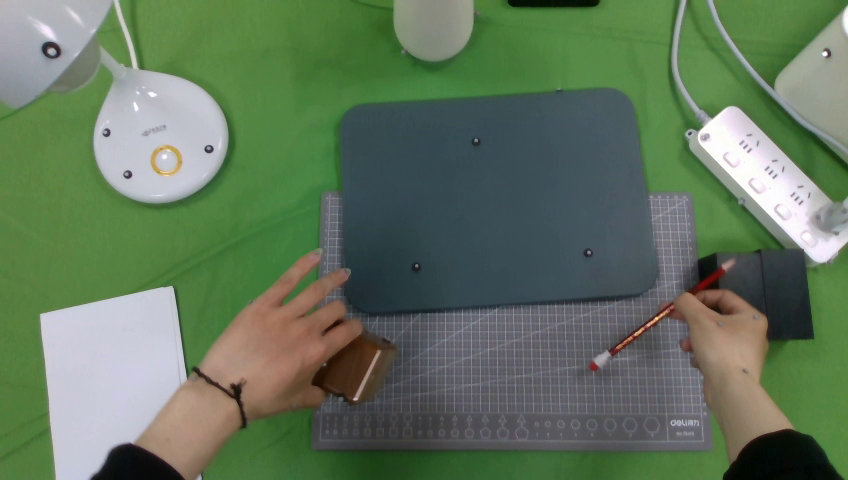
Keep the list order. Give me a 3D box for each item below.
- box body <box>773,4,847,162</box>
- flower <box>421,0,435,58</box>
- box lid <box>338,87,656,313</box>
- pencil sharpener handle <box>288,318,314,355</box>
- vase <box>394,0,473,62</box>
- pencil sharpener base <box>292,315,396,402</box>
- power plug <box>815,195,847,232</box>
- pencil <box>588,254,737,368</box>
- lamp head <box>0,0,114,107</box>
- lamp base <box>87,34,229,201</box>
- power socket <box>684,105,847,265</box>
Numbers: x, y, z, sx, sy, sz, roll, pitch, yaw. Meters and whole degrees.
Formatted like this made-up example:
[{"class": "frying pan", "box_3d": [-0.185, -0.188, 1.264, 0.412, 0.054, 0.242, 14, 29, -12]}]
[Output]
[{"class": "box body", "box_3d": [0.628, -0.162, 0.680, 0.254, 0.161, 0.363, -43, 82, -8]}, {"class": "flower", "box_3d": [0.022, -0.318, 0.605, 0.044, 0.364, 0.038, -26, 68, -21]}, {"class": "box lid", "box_3d": [0.086, -0.053, 0.732, 0.372, 0.015, 0.262, -4, 79, -1]}, {"class": "pencil sharpener handle", "box_3d": [-0.127, 0.094, 0.621, 0.030, 0.068, 0.036, 25, 93, 9]}, {"class": "vase", "box_3d": [0.013, -0.287, 0.683, 0.098, 0.201, 0.097, 0, 77, -1]}, {"class": "pencil sharpener base", "box_3d": [-0.081, 0.119, 0.625, 0.076, 0.107, 0.061, 25, 85, 9]}, {"class": "power plug", "box_3d": [0.485, -0.036, 0.697, 0.072, 0.053, 0.035, -29, 78, -10]}, {"class": "pencil", "box_3d": [0.249, 0.078, 0.642, 0.194, 0.012, 0.012, -45, 80, 22]}, {"class": "lamp head", "box_3d": [-0.284, -0.166, 0.386, 0.112, 0.124, 0.111, -24, 45, 26]}, {"class": "lamp base", "box_3d": [-0.325, -0.150, 0.663, 0.160, 0.181, 0.178, -31, 78, -6]}, {"class": "power socket", "box_3d": [0.414, -0.067, 0.726, 0.072, 0.033, 0.226, -40, 81, -8]}]
